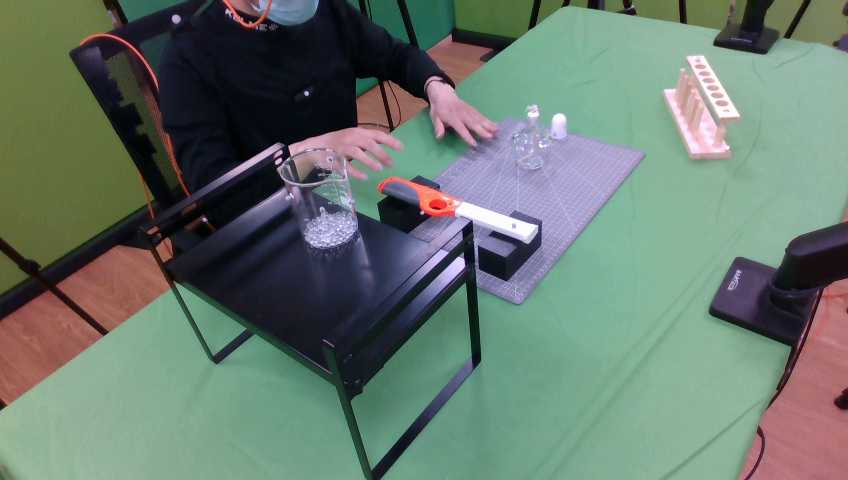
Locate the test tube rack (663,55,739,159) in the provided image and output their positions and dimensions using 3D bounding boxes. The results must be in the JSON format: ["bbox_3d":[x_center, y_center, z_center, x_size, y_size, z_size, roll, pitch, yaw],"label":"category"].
[{"bbox_3d":[0.518,-0.256,1.144,0.066,0.085,0.241,-1,41,8],"label":"test tube rack"}]

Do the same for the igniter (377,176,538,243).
[{"bbox_3d":[0.046,-0.052,0.942,0.274,0.025,0.057,21,47,26],"label":"igniter"}]

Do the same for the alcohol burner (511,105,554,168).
[{"bbox_3d":[0.196,-0.190,1.088,0.078,0.119,0.077,-3,42,3],"label":"alcohol burner"}]

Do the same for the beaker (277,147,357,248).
[{"bbox_3d":[-0.117,-0.046,0.705,0.083,0.101,0.074,17,47,25],"label":"beaker"}]

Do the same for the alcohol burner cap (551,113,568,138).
[{"bbox_3d":[0.263,-0.223,1.172,0.034,0.048,0.033,-5,39,4],"label":"alcohol burner cap"}]
